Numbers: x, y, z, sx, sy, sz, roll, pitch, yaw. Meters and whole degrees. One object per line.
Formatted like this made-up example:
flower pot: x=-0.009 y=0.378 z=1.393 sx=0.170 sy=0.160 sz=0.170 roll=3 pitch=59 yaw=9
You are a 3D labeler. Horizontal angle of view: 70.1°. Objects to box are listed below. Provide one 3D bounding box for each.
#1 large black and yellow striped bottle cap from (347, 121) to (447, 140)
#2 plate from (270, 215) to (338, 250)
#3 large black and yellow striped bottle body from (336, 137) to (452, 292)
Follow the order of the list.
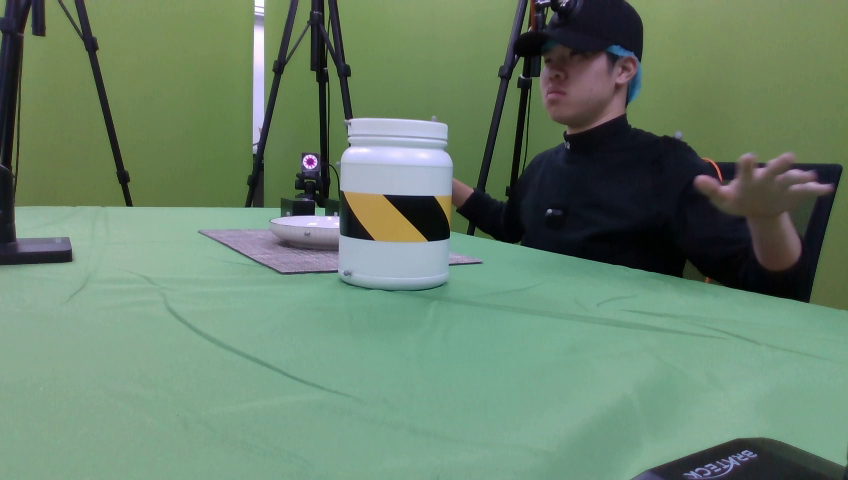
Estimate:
large black and yellow striped bottle cap: x=-0.031 y=-0.124 z=0.691 sx=0.115 sy=0.019 sz=0.115 roll=1 pitch=7 yaw=0
plate: x=-0.145 y=-0.013 z=0.992 sx=0.208 sy=0.039 sz=0.207 roll=2 pitch=7 yaw=0
large black and yellow striped bottle body: x=-0.034 y=-0.041 z=0.702 sx=0.131 sy=0.184 sz=0.130 roll=3 pitch=7 yaw=0
